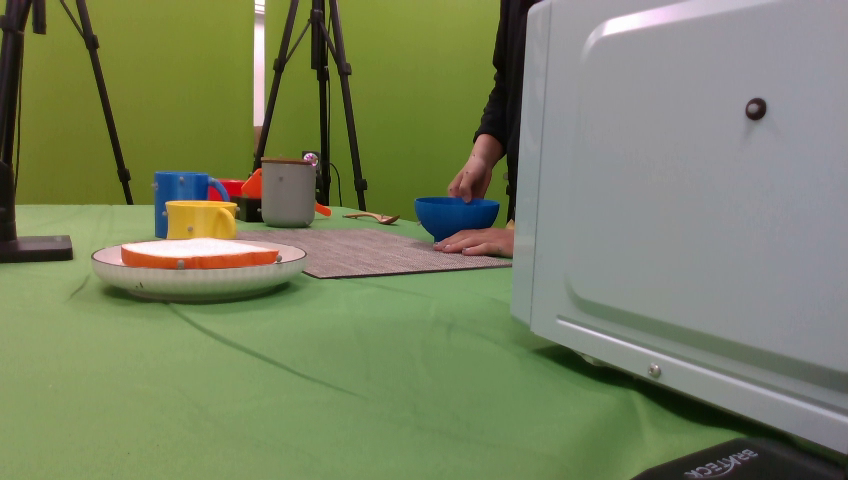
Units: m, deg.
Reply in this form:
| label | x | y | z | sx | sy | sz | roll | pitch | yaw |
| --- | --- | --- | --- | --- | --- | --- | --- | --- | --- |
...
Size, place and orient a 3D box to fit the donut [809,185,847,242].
| label | x | y | z | sx | sy | sz | roll | pitch | yaw |
| --- | --- | --- | --- | --- | --- | --- | --- | --- | --- |
| donut | 0.352 | -0.024 | 0.463 | 0.099 | 0.048 | 0.099 | -10 | 4 | 1 |

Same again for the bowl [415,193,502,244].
| label | x | y | z | sx | sy | sz | roll | pitch | yaw |
| --- | --- | --- | --- | --- | --- | --- | --- | --- | --- |
| bowl | 0.058 | -0.037 | 1.048 | 0.151 | 0.077 | 0.151 | 1 | 10 | 0 |

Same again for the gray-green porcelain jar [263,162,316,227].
| label | x | y | z | sx | sy | sz | roll | pitch | yaw |
| --- | --- | --- | --- | --- | --- | --- | --- | --- | --- |
| gray-green porcelain jar | -0.271 | -0.092 | 1.217 | 0.106 | 0.126 | 0.106 | 2 | 7 | 0 |

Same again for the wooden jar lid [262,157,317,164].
| label | x | y | z | sx | sy | sz | roll | pitch | yaw |
| --- | --- | --- | --- | --- | --- | --- | --- | --- | --- |
| wooden jar lid | -0.269 | -0.154 | 1.208 | 0.108 | 0.020 | 0.108 | 3 | 4 | 0 |

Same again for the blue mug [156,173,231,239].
| label | x | y | z | sx | sy | sz | roll | pitch | yaw |
| --- | --- | --- | --- | --- | --- | --- | --- | --- | --- |
| blue mug | -0.381 | -0.057 | 1.004 | 0.117 | 0.106 | 0.082 | 1 | 8 | -12 |

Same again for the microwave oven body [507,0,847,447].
| label | x | y | z | sx | sy | sz | roll | pitch | yaw |
| --- | --- | --- | --- | --- | --- | --- | --- | --- | --- |
| microwave oven body | 0.331 | -0.042 | 0.425 | 0.444 | 0.260 | 0.324 | -2 | 8 | -31 |

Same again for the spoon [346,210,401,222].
| label | x | y | z | sx | sy | sz | roll | pitch | yaw |
| --- | --- | --- | --- | --- | --- | --- | --- | --- | --- |
| spoon | -0.121 | -0.060 | 1.400 | 0.042 | 0.021 | 0.192 | -28 | 25 | -37 |

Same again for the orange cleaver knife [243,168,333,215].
| label | x | y | z | sx | sy | sz | roll | pitch | yaw |
| --- | --- | --- | --- | --- | --- | --- | --- | --- | --- |
| orange cleaver knife | -0.300 | -0.089 | 1.351 | 0.212 | 0.077 | 0.012 | 28 | -9 | -34 |

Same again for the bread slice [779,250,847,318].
| label | x | y | z | sx | sy | sz | roll | pitch | yaw |
| --- | --- | --- | --- | --- | --- | --- | --- | --- | --- |
| bread slice | 0.369 | 0.025 | 0.477 | 0.132 | 0.019 | 0.104 | -24 | 10 | -8 |

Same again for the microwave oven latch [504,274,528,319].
| label | x | y | z | sx | sy | sz | roll | pitch | yaw |
| --- | --- | --- | --- | --- | --- | --- | --- | --- | --- |
| microwave oven latch | 0.100 | 0.041 | 0.470 | 0.079 | 0.029 | 0.030 | -1 | 7 | -27 |

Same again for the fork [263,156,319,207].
| label | x | y | z | sx | sy | sz | roll | pitch | yaw |
| --- | --- | --- | --- | --- | --- | --- | --- | --- | --- |
| fork | -0.331 | -0.144 | 1.505 | 0.207 | 0.018 | 0.028 | -42 | -21 | 22 |

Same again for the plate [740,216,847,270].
| label | x | y | z | sx | sy | sz | roll | pitch | yaw |
| --- | --- | --- | --- | --- | --- | --- | --- | --- | --- |
| plate | 0.358 | 0.002 | 0.464 | 0.209 | 0.038 | 0.209 | 1 | 4 | 0 |

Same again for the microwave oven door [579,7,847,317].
| label | x | y | z | sx | sy | sz | roll | pitch | yaw |
| --- | --- | --- | --- | --- | --- | --- | --- | --- | --- |
| microwave oven door | 0.294 | -0.067 | 0.570 | 0.358 | 0.243 | 0.039 | -3 | 9 | -31 |

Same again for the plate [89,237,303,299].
| label | x | y | z | sx | sy | sz | roll | pitch | yaw |
| --- | --- | --- | --- | --- | --- | --- | --- | --- | --- |
| plate | -0.233 | 0.029 | 0.636 | 0.208 | 0.039 | 0.207 | 2 | 7 | 0 |

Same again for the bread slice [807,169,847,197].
| label | x | y | z | sx | sy | sz | roll | pitch | yaw |
| --- | --- | --- | --- | --- | --- | --- | --- | --- | --- |
| bread slice | 0.365 | -0.051 | 0.453 | 0.135 | 0.018 | 0.106 | -9 | 1 | -23 |

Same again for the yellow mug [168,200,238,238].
| label | x | y | z | sx | sy | sz | roll | pitch | yaw |
| --- | --- | --- | --- | --- | --- | --- | --- | --- | --- |
| yellow mug | -0.319 | -0.023 | 0.904 | 0.130 | 0.064 | 0.100 | 9 | 11 | 36 |
